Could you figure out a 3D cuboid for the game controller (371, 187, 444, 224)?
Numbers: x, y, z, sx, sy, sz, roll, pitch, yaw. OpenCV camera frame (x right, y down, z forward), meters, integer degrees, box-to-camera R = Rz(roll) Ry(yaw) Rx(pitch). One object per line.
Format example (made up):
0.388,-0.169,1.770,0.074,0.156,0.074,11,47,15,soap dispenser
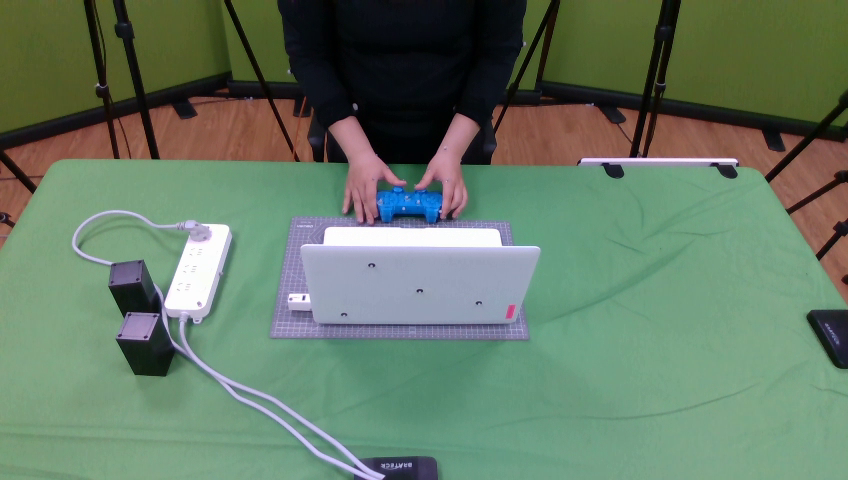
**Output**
-0.033,-0.079,1.251,0.155,0.052,0.096,1,44,-3,game controller

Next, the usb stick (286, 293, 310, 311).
-0.210,0.109,1.059,0.059,0.027,0.021,4,44,-6,usb stick

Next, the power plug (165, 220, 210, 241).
-0.440,-0.015,1.143,0.072,0.053,0.035,6,46,8,power plug

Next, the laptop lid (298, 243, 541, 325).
-0.010,0.076,0.958,0.357,0.243,0.013,1,53,-5,laptop lid

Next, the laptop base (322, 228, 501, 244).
-0.020,0.063,1.136,0.355,0.023,0.234,0,43,-4,laptop base

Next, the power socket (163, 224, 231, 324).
-0.411,0.052,1.107,0.072,0.033,0.225,3,46,-3,power socket
